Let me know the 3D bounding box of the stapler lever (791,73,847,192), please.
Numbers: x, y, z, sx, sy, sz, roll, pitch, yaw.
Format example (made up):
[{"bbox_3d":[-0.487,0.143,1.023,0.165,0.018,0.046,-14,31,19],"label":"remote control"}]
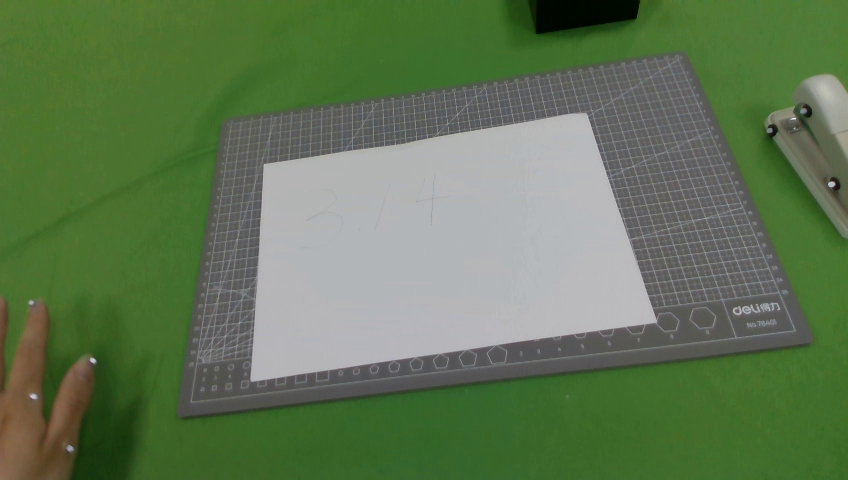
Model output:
[{"bbox_3d":[0.315,-0.075,0.453,0.027,0.040,0.117,-15,59,3],"label":"stapler lever"}]

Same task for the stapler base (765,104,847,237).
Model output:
[{"bbox_3d":[0.318,-0.063,0.475,0.041,0.024,0.129,-15,59,2],"label":"stapler base"}]
